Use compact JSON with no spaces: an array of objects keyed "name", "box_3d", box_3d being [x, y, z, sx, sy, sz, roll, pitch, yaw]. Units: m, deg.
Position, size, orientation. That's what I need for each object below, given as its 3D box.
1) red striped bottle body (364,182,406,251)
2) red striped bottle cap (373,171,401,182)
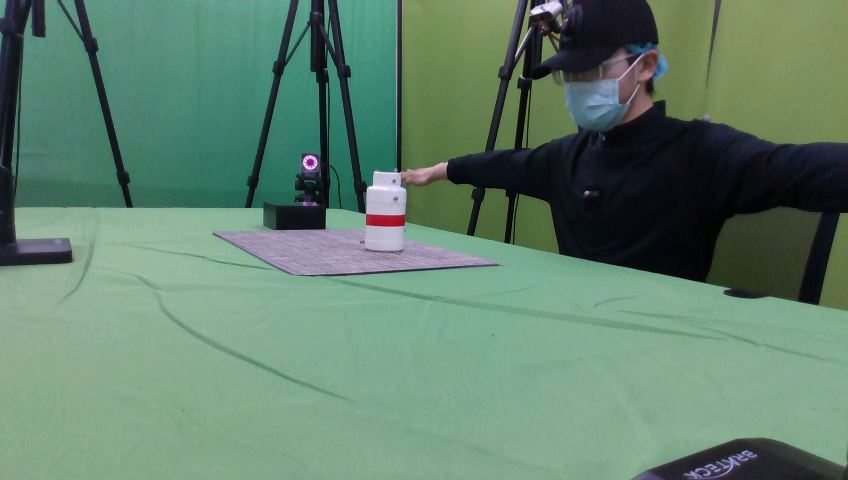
[{"name":"red striped bottle body","box_3d":[-0.060,-0.046,0.943,0.063,0.119,0.063,3,7,0]},{"name":"red striped bottle cap","box_3d":[-0.058,-0.098,0.936,0.044,0.017,0.044,1,5,0]}]
